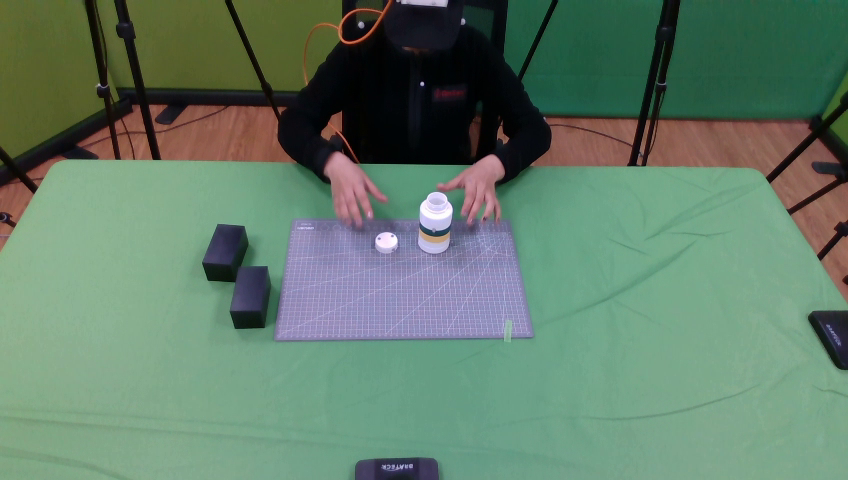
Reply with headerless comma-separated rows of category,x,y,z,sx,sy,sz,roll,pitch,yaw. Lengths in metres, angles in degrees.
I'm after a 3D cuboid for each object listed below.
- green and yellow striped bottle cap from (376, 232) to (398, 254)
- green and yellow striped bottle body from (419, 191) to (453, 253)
green and yellow striped bottle cap,-0.073,0.006,1.187,0.045,0.020,0.045,2,44,-1
green and yellow striped bottle body,0.023,-0.036,1.160,0.063,0.120,0.063,2,46,-2
